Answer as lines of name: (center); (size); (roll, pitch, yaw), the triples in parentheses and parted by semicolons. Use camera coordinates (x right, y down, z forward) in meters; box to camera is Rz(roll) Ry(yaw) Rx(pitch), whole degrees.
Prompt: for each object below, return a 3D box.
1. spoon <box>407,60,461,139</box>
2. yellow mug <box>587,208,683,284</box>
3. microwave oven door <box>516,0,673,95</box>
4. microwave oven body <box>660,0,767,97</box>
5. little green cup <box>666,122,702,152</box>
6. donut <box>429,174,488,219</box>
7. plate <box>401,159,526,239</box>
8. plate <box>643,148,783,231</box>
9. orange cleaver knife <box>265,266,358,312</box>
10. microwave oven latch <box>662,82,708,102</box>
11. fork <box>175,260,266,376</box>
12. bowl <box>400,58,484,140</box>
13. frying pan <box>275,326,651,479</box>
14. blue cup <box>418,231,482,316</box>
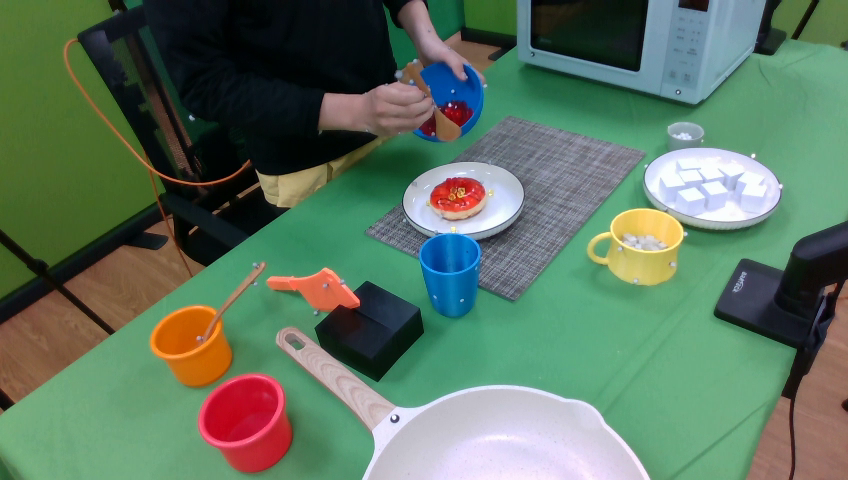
spoon: (0.012, -0.206, 0.910); (0.041, 0.195, 0.021); (-17, 58, 16)
yellow mug: (0.305, 0.009, 0.884); (0.131, 0.064, 0.099); (-4, 41, 5)
microwave oven door: (0.344, -0.458, 1.256); (0.353, 0.245, 0.039); (26, 51, 33)
microwave oven body: (0.473, -0.516, 1.313); (0.438, 0.261, 0.327); (26, 51, 34)
little green cup: (0.471, -0.184, 1.102); (0.061, 0.039, 0.061); (-5, 41, 4)
donut: (0.058, -0.075, 1.015); (0.099, 0.048, 0.098); (-6, 37, 5)
plate: (0.067, -0.065, 1.019); (0.209, 0.038, 0.208); (-4, 40, 4)
plate: (0.464, -0.080, 0.986); (0.207, 0.039, 0.206); (-4, 40, 4)
orange cleaver knife: (-0.164, 0.073, 0.864); (0.210, 0.077, 0.012); (-6, 30, 50)
microwave oven latch: (0.518, -0.298, 1.203); (0.078, 0.029, 0.030); (29, 53, 35)
fork: (-0.268, 0.103, 0.792); (0.207, 0.019, 0.028); (-51, 41, 16)
bowl: (0.041, -0.233, 1.065); (0.151, 0.077, 0.151); (-7, 69, 19)
frying pan: (0.003, 0.229, 0.641); (0.484, 0.103, 0.308); (34, 54, 28)
blue cup: (0.040, 0.053, 0.843); (0.092, 0.100, 0.092); (-4, 43, 4)
